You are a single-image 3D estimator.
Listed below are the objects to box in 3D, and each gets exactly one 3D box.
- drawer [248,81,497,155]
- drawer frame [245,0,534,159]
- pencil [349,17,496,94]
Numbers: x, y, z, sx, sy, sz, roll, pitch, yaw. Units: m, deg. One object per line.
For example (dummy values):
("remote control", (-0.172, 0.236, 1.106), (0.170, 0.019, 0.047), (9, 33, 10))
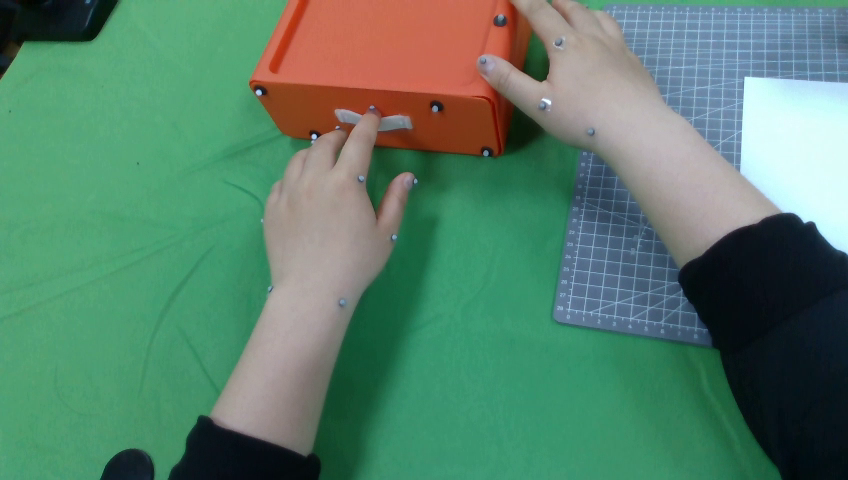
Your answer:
("drawer", (-0.017, -0.181, 0.519), (0.194, 0.074, 0.210), (8, 64, 17))
("drawer frame", (-0.017, -0.184, 0.518), (0.201, 0.083, 0.212), (7, 64, 17))
("pencil", (-0.009, -0.171, 0.545), (0.012, 0.012, 0.192), (-46, 57, -12))
